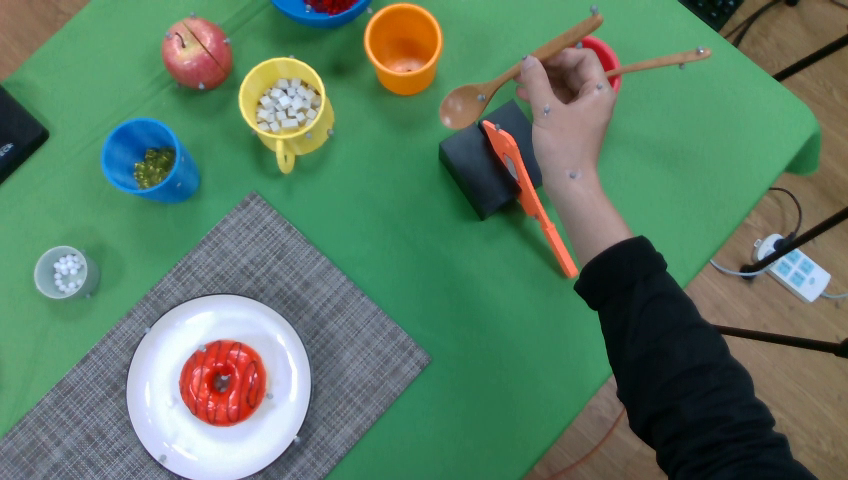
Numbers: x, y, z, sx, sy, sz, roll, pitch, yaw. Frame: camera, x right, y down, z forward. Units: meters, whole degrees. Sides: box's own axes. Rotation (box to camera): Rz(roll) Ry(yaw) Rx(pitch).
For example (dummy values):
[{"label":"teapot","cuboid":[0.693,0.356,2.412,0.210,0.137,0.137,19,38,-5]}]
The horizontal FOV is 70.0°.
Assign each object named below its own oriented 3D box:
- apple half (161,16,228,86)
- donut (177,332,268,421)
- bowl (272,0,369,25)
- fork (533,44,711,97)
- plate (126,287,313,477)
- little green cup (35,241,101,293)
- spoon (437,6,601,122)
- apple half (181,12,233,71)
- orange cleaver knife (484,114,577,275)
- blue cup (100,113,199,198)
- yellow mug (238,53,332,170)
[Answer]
[{"label":"apple half","cuboid":[-0.284,-0.220,0.735,0.053,0.075,0.080,-41,86,-3]},{"label":"donut","cuboid":[-0.225,0.153,0.680,0.099,0.048,0.098,0,83,1]},{"label":"bowl","cuboid":[-0.124,-0.327,0.750,0.151,0.077,0.151,0,82,0]},{"label":"fork","cuboid":[0.220,-0.195,0.698,0.206,0.019,0.028,-6,64,41]},{"label":"plate","cuboid":[-0.228,0.158,0.691,0.209,0.038,0.208,0,81,0]},{"label":"little green cup","cuboid":[-0.416,0.034,0.713,0.061,0.039,0.061,0,81,1]},{"label":"spoon","cuboid":[0.080,-0.158,0.556,0.022,0.193,0.041,-14,85,-40]},{"label":"apple half","cuboid":[-0.255,-0.246,0.738,0.033,0.081,0.081,-41,83,-5]},{"label":"orange cleaver knife","cuboid":[0.124,-0.052,0.707,0.012,0.076,0.213,-32,112,-3]},{"label":"blue cup","cuboid":[-0.306,-0.088,0.701,0.093,0.100,0.092,0,82,-2]},{"label":"yellow mug","cuboid":[-0.166,-0.149,0.728,0.100,0.064,0.130,1,82,-1]}]
